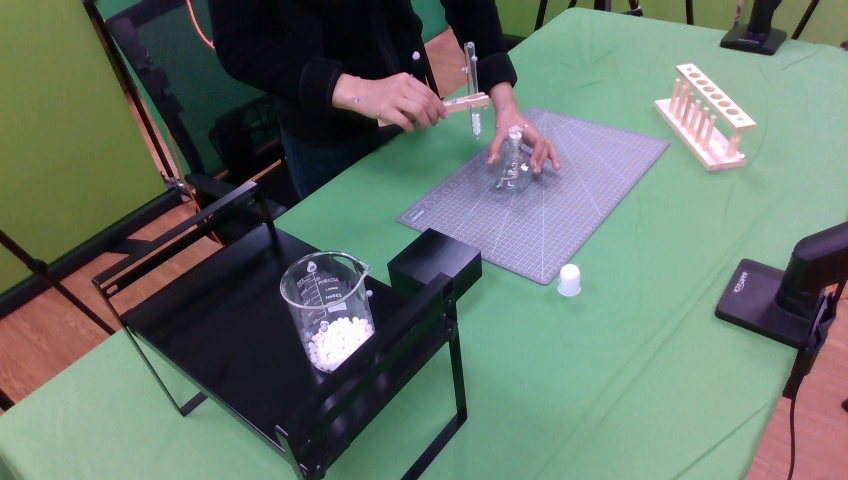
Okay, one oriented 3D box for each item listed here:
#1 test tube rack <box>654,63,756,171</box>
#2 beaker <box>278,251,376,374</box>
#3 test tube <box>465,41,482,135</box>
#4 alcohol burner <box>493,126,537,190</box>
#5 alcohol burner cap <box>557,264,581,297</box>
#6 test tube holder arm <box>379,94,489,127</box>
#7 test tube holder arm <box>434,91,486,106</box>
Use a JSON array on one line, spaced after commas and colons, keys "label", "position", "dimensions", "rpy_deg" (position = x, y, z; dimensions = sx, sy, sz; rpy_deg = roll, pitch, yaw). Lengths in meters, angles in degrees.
[{"label": "test tube rack", "position": [0.510, -0.233, 1.120], "dimensions": [0.067, 0.085, 0.241], "rpy_deg": [-8, 41, -1]}, {"label": "beaker", "position": [-0.084, 0.070, 0.570], "dimensions": [0.084, 0.101, 0.073], "rpy_deg": [-18, 42, -13]}, {"label": "test tube", "position": [0.078, -0.234, 0.944], "dimensions": [0.017, 0.151, 0.017], "rpy_deg": [-6, 35, 5]}, {"label": "alcohol burner", "position": [0.157, -0.146, 1.045], "dimensions": [0.078, 0.119, 0.077], "rpy_deg": [-2, 44, 3]}, {"label": "alcohol burner cap", "position": [0.209, 0.055, 0.866], "dimensions": [0.034, 0.048, 0.033], "rpy_deg": [-4, 42, 4]}, {"label": "test tube holder arm", "position": [0.017, -0.201, 0.936], "dimensions": [0.179, 0.015, 0.013], "rpy_deg": [-15, 32, -11]}, {"label": "test tube holder arm", "position": [0.057, -0.216, 0.951], "dimensions": [0.088, 0.015, 0.010], "rpy_deg": [-19, 33, -17]}]
